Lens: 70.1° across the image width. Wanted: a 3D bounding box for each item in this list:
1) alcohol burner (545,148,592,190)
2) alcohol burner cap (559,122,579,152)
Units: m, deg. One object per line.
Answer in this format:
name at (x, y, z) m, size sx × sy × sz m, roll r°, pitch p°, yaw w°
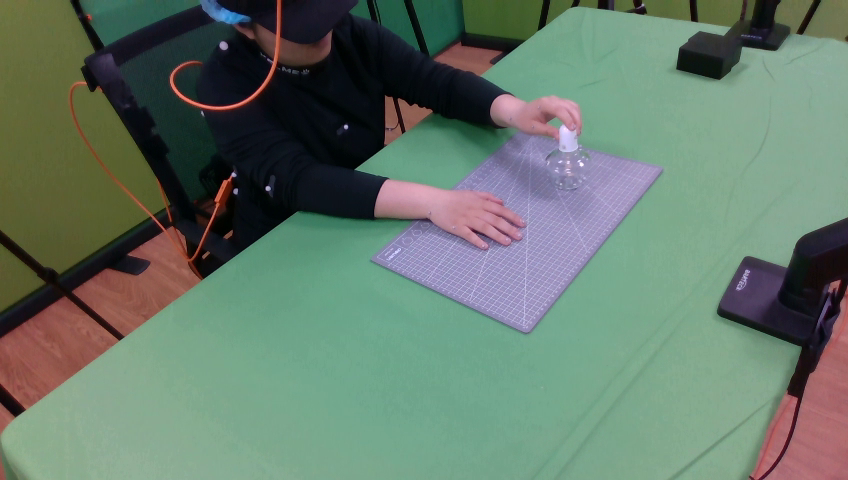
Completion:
alcohol burner at (0.247, -0.146, 1.034) m, size 0.078 × 0.120 × 0.077 m, roll -7°, pitch 41°, yaw 6°
alcohol burner cap at (0.241, -0.173, 1.011) m, size 0.034 × 0.048 × 0.033 m, roll -10°, pitch 38°, yaw 8°
